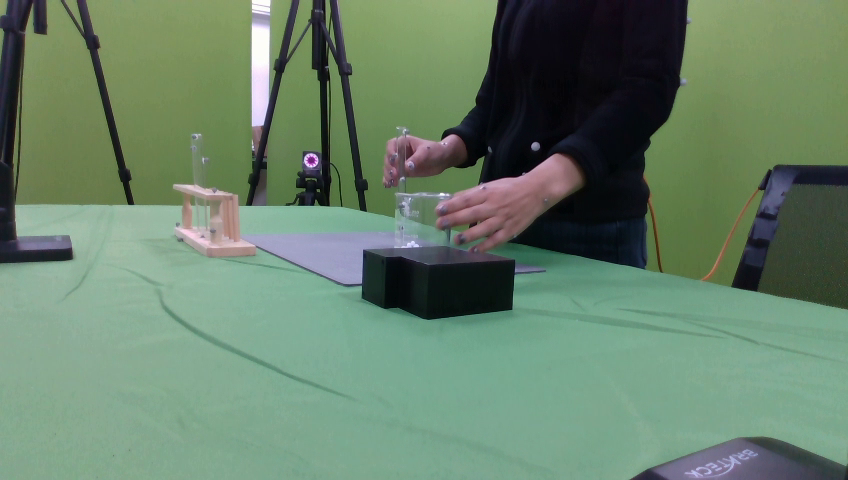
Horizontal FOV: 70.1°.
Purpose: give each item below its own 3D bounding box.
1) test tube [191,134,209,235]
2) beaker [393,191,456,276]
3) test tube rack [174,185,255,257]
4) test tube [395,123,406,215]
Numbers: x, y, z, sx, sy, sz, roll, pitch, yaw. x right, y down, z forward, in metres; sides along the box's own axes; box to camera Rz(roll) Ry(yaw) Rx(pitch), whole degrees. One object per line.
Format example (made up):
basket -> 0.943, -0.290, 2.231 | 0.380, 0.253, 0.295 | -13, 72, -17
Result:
test tube -> -0.332, -0.082, 0.897 | 0.017, 0.150, 0.017 | -2, 6, 0
beaker -> -0.004, -0.010, 0.749 | 0.074, 0.100, 0.083 | -3, 8, -40
test tube rack -> -0.324, -0.035, 0.922 | 0.067, 0.085, 0.241 | -2, 9, -32
test tube -> -0.038, -0.111, 0.967 | 0.017, 0.150, 0.017 | 1, 21, 0
